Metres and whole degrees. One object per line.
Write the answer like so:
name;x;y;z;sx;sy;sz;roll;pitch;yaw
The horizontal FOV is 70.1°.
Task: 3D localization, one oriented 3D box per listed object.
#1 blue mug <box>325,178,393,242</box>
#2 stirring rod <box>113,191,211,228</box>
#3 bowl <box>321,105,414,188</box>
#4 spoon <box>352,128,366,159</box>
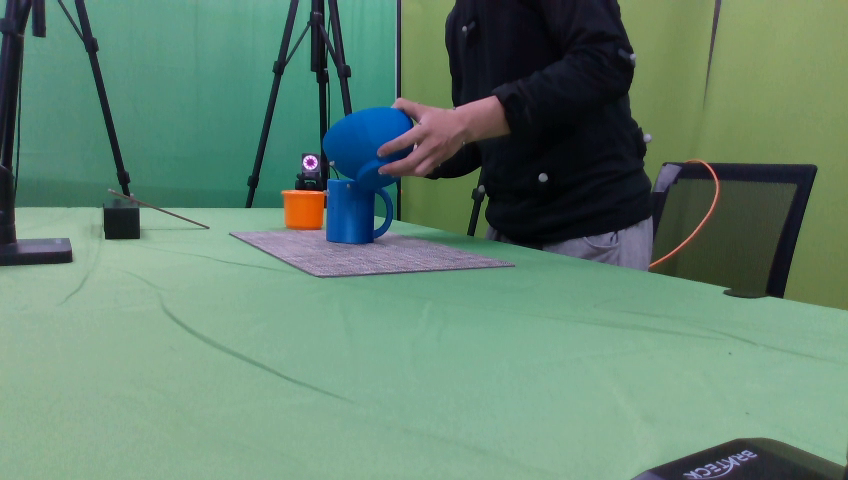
blue mug;-0.111;-0.052;1.034;0.116;0.106;0.082;3;7;7
stirring rod;-0.484;-0.055;1.121;0.177;0.006;0.014;22;-7;-22
bowl;-0.079;-0.134;0.947;0.151;0.076;0.151;-17;-20;-6
spoon;-0.120;-0.181;1.084;0.021;0.041;0.193;-18;22;-4
